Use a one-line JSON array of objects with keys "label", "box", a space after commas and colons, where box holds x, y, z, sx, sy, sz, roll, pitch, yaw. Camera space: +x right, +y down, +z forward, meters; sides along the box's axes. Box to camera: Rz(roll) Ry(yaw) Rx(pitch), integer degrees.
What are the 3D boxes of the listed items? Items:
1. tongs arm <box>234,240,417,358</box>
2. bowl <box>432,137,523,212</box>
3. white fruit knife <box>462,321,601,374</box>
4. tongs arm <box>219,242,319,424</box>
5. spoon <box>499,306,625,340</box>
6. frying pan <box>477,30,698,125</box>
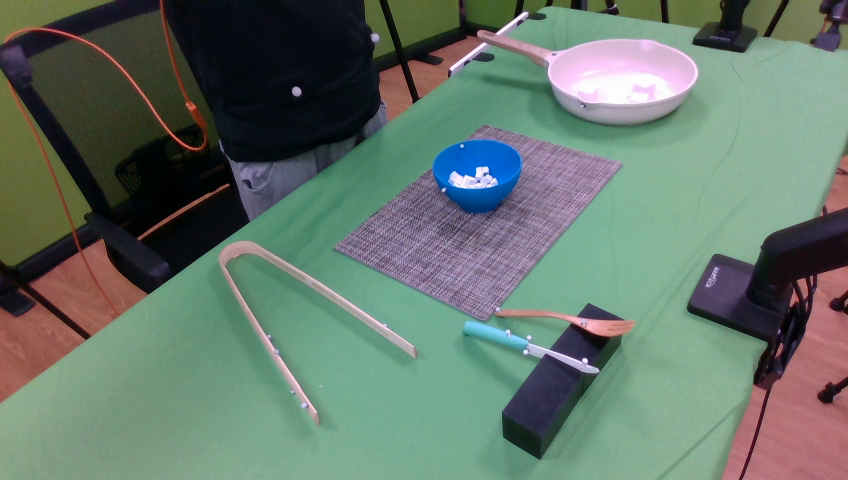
[{"label": "tongs arm", "box": [-0.157, 0.078, 0.895, 0.384, 0.028, 0.028, 26, 53, 33]}, {"label": "bowl", "box": [0.091, -0.100, 1.022, 0.151, 0.077, 0.150, -4, 41, 4]}, {"label": "white fruit knife", "box": [0.126, 0.132, 0.752, 0.205, 0.027, 0.016, 12, 48, 42]}, {"label": "tongs arm", "box": [-0.220, 0.113, 0.856, 0.051, 0.026, 0.381, -28, 44, -24]}, {"label": "spoon", "box": [0.169, 0.102, 0.773, 0.042, 0.021, 0.192, -10, 14, -38]}, {"label": "frying pan", "box": [0.321, -0.371, 1.290, 0.484, 0.103, 0.308, 29, 51, 24]}]
